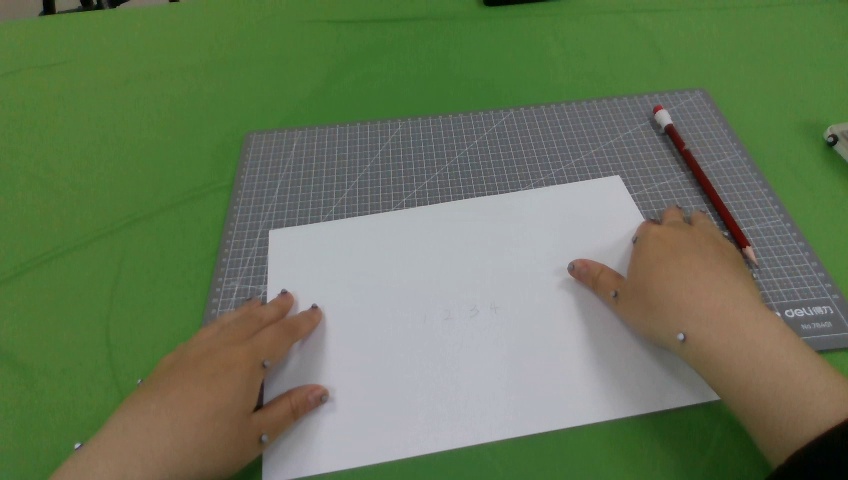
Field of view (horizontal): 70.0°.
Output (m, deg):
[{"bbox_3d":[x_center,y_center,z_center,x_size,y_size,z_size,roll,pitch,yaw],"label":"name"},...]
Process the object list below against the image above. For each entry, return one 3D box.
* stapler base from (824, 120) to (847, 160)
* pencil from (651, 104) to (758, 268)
[{"bbox_3d":[0.380,-0.062,0.490,0.041,0.025,0.129,-11,49,-2],"label":"stapler base"},{"bbox_3d":[0.228,-0.052,0.500,0.012,0.012,0.192,-8,50,-3],"label":"pencil"}]
